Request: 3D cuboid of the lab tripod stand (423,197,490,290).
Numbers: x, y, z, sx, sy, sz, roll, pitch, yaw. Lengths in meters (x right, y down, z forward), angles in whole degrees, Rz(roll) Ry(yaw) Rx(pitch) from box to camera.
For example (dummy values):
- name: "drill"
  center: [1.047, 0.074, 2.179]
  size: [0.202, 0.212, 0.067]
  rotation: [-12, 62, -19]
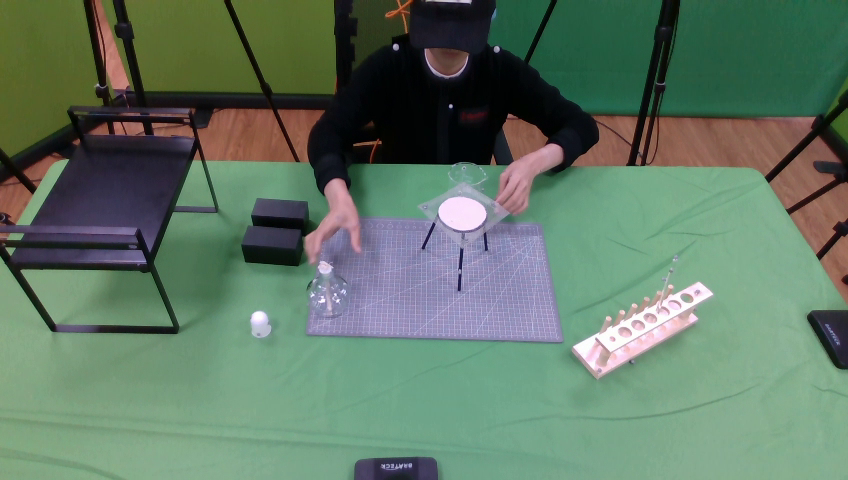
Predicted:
- name: "lab tripod stand"
  center: [0.064, -0.003, 1.120]
  size: [0.148, 0.132, 0.147]
  rotation: [1, 47, 0]

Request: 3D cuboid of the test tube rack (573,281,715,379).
- name: "test tube rack"
  center: [0.378, 0.140, 1.038]
  size: [0.242, 0.085, 0.066]
  rotation: [-22, 51, -23]

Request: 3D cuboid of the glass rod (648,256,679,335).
- name: "glass rod"
  center: [0.390, 0.095, 0.990]
  size: [0.008, 0.201, 0.008]
  rotation: [-2, 45, 2]

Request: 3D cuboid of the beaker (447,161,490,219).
- name: "beaker"
  center: [0.087, -0.099, 1.244]
  size: [0.084, 0.101, 0.073]
  rotation: [5, 46, 1]

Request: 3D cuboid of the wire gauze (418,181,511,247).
- name: "wire gauze"
  center: [0.071, -0.052, 1.074]
  size: [0.121, 0.011, 0.124]
  rotation: [-31, 55, -28]

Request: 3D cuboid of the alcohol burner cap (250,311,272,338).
- name: "alcohol burner cap"
  center: [-0.278, 0.141, 1.026]
  size: [0.034, 0.048, 0.033]
  rotation: [1, 47, -1]

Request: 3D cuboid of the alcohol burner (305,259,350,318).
- name: "alcohol burner"
  center: [-0.166, 0.078, 1.040]
  size: [0.078, 0.120, 0.077]
  rotation: [1, 44, -1]
